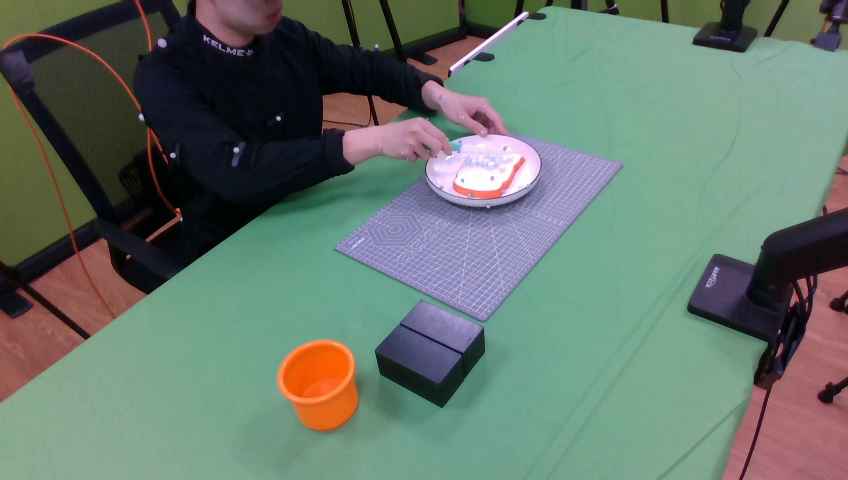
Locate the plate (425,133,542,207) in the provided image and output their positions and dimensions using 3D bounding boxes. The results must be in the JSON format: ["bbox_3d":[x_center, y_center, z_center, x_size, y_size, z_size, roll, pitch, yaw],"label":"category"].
[{"bbox_3d":[0.106,-0.121,1.079,0.209,0.038,0.208,-4,41,4],"label":"plate"}]

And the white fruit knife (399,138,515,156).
[{"bbox_3d":[0.059,-0.165,1.079,0.208,0.027,0.016,4,53,-2],"label":"white fruit knife"}]

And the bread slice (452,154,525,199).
[{"bbox_3d":[0.112,-0.119,1.079,0.104,0.019,0.131,12,43,21],"label":"bread slice"}]
